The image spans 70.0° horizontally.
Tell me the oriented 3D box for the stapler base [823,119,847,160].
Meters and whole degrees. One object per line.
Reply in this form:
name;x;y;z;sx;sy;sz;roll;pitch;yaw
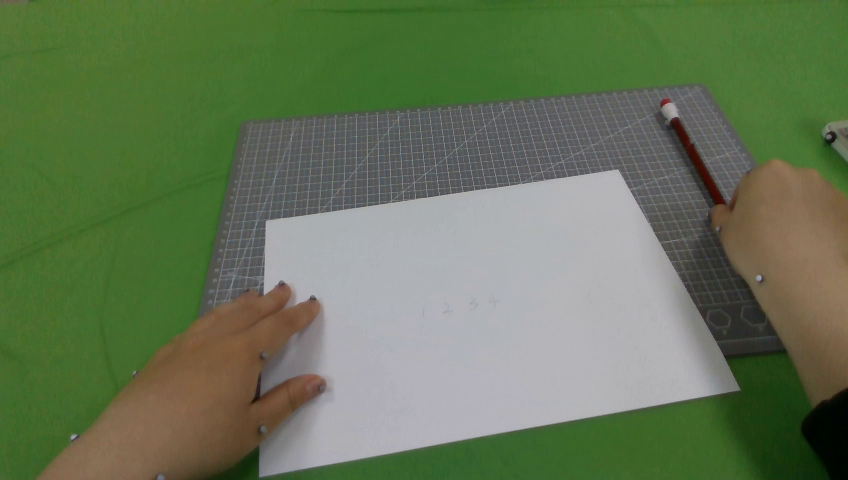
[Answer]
stapler base;0.380;-0.062;0.492;0.041;0.025;0.129;-10;50;-2

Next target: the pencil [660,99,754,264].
pencil;0.230;-0.055;0.499;0.012;0.012;0.192;-5;50;-1
